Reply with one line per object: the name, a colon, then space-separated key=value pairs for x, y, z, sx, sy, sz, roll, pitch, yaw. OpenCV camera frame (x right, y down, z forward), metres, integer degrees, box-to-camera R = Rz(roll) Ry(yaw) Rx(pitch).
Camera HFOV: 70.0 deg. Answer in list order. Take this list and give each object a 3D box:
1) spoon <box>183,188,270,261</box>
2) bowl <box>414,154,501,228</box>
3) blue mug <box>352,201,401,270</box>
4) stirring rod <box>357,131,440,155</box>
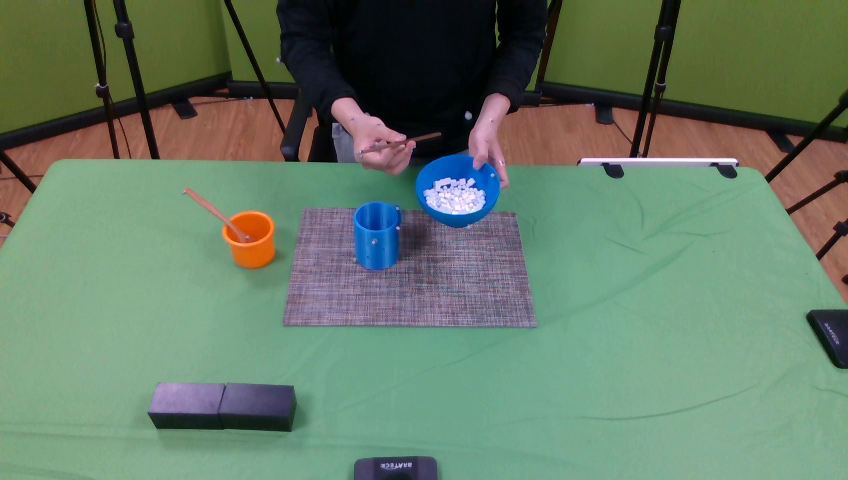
spoon: x=-0.360 y=-0.029 z=1.110 sx=0.021 sy=0.194 sz=0.041 roll=-21 pitch=30 yaw=41
bowl: x=0.059 y=-0.075 z=1.081 sx=0.151 sy=0.077 sz=0.150 roll=-2 pitch=50 yaw=2
blue mug: x=-0.082 y=-0.017 z=1.144 sx=0.082 sy=0.106 sz=0.116 roll=30 pitch=51 yaw=22
stirring rod: x=-0.037 y=-0.155 z=0.955 sx=0.014 sy=0.006 sz=0.176 roll=5 pitch=21 yaw=44
